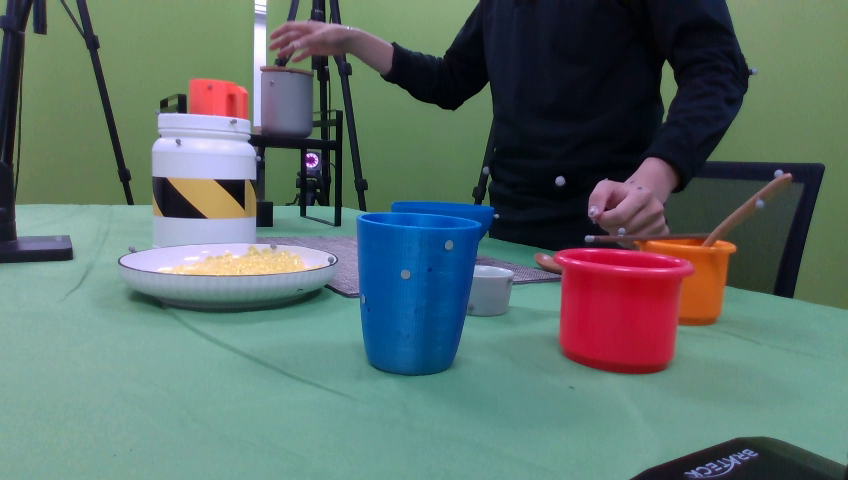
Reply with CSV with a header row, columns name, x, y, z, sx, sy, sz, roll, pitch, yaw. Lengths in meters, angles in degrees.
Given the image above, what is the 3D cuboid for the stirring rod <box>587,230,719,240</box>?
name,x,y,z,sx,sy,sz,roll,pitch,yaw
stirring rod,0.226,-0.005,0.587,0.177,0.006,0.014,-2,10,-29

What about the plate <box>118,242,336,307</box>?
name,x,y,z,sx,sy,sz,roll,pitch,yaw
plate,-0.194,0.033,0.615,0.209,0.038,0.209,2,7,0

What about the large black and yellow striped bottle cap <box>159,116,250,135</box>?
name,x,y,z,sx,sy,sz,roll,pitch,yaw
large black and yellow striped bottle cap,-0.292,-0.153,0.810,0.115,0.019,0.115,3,8,0

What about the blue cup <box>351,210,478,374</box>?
name,x,y,z,sx,sy,sz,roll,pitch,yaw
blue cup,-0.009,0.034,0.414,0.093,0.100,0.092,4,8,0

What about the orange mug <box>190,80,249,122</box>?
name,x,y,z,sx,sy,sz,roll,pitch,yaw
orange mug,-0.393,-0.257,1.173,0.126,0.100,0.084,1,6,25

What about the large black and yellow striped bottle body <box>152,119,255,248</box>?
name,x,y,z,sx,sy,sz,roll,pitch,yaw
large black and yellow striped bottle body,-0.296,-0.070,0.819,0.131,0.184,0.130,2,7,0

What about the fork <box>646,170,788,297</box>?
name,x,y,z,sx,sy,sz,roll,pitch,yaw
fork,0.256,0.004,0.543,0.028,0.018,0.207,3,-36,-9

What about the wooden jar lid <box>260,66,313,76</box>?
name,x,y,z,sx,sy,sz,roll,pitch,yaw
wooden jar lid,-0.283,-0.340,1.245,0.108,0.020,0.108,6,9,-1

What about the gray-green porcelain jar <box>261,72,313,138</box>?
name,x,y,z,sx,sy,sz,roll,pitch,yaw
gray-green porcelain jar,-0.284,-0.276,1.253,0.106,0.126,0.106,2,8,0

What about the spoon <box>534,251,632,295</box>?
name,x,y,z,sx,sy,sz,roll,pitch,yaw
spoon,0.193,0.038,0.753,0.042,0.021,0.193,14,2,-21

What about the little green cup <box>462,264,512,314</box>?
name,x,y,z,sx,sy,sz,roll,pitch,yaw
little green cup,0.053,0.047,0.580,0.061,0.038,0.061,3,8,0

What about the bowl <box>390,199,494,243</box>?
name,x,y,z,sx,sy,sz,roll,pitch,yaw
bowl,0.024,-0.015,0.872,0.151,0.077,0.151,3,8,0
